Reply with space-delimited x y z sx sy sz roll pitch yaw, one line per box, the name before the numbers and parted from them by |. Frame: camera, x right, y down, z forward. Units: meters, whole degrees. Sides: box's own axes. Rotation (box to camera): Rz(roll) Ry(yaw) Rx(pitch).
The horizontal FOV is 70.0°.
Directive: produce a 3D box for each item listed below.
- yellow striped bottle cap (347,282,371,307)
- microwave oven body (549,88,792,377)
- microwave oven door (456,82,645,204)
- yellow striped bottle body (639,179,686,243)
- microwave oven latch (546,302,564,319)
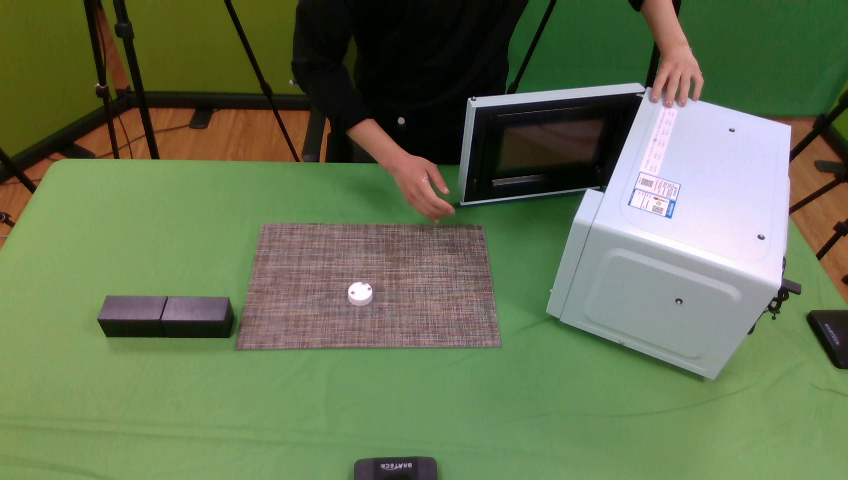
yellow striped bottle cap | -0.117 0.098 1.093 0.044 0.019 0.044 3 46 -3
microwave oven body | 0.456 -0.028 1.088 0.325 0.261 0.440 20 47 16
microwave oven door | 0.249 -0.193 1.225 0.356 0.245 0.039 -8 47 -11
yellow striped bottle body | 0.445 -0.057 1.126 0.063 0.121 0.062 -1 45 1
microwave oven latch | 0.242 0.102 1.081 0.030 0.029 0.079 21 48 17
